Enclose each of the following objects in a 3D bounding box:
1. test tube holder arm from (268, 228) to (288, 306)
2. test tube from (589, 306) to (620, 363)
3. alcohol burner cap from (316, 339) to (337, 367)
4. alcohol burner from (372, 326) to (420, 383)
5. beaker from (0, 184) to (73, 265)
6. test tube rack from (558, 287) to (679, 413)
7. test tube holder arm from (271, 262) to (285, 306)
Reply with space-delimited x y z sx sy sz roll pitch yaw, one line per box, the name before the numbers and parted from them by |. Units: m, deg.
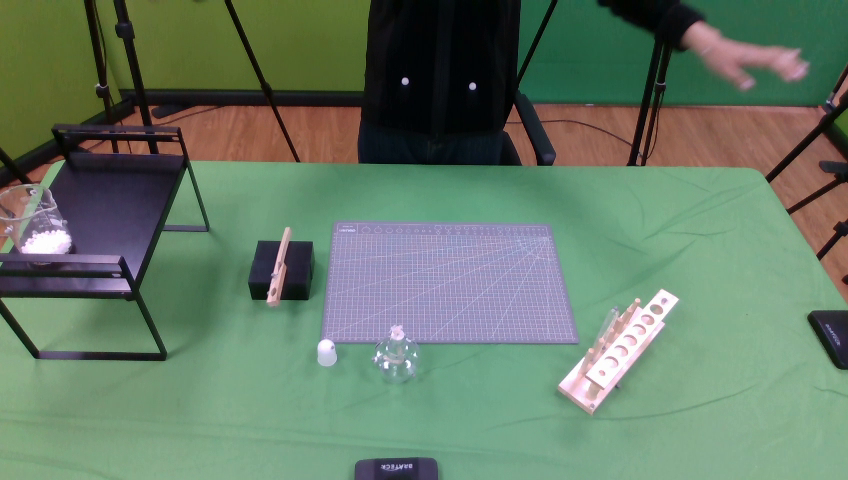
test tube holder arm | -0.258 0.043 1.071 0.013 0.015 0.177 -6 45 1
test tube | 0.284 0.152 0.961 0.017 0.151 0.017 2 49 -2
alcohol burner cap | -0.161 0.182 0.995 0.034 0.048 0.033 2 47 -2
alcohol burner | -0.045 0.174 0.961 0.078 0.120 0.077 1 47 -1
beaker | -0.556 -0.019 0.871 0.084 0.101 0.073 3 46 -2
test tube rack | 0.326 0.170 1.009 0.066 0.085 0.242 36 54 27
test tube holder arm | -0.250 0.075 1.040 0.010 0.015 0.087 -5 45 2
